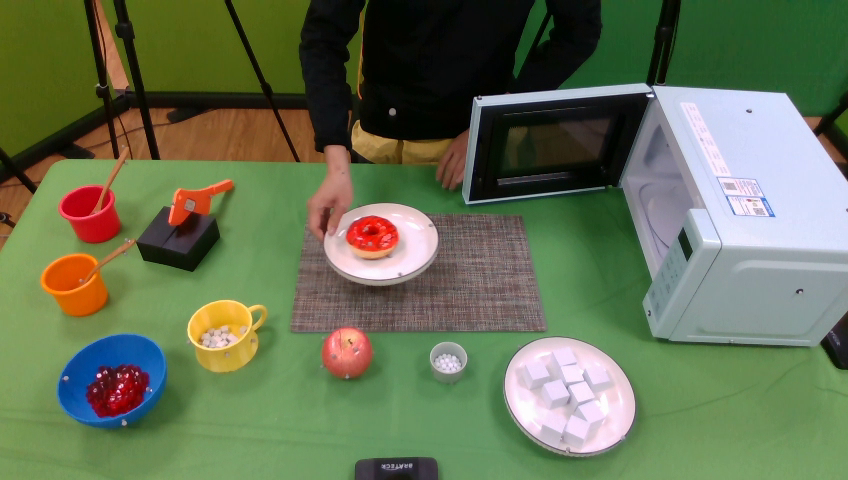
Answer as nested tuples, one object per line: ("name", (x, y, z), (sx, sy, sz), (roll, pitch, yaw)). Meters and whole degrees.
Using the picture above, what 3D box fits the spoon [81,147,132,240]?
("spoon", (-0.603, -0.089, 1.156), (0.041, 0.022, 0.193), (27, 95, 19))

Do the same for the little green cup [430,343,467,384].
("little green cup", (0.039, 0.203, 0.993), (0.061, 0.039, 0.061), (2, 46, -2))

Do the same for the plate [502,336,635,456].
("plate", (0.225, 0.248, 0.963), (0.208, 0.039, 0.206), (2, 46, -2))

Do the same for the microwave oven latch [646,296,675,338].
("microwave oven latch", (0.412, 0.134, 1.061), (0.030, 0.029, 0.078), (3, 45, 0))

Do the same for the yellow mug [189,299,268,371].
("yellow mug", (-0.316, 0.148, 1.002), (0.131, 0.064, 0.099), (-33, 56, -31))

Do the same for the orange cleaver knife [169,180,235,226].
("orange cleaver knife", (-0.436, -0.076, 1.199), (0.012, 0.077, 0.211), (17, 17, 9))

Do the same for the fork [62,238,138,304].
("fork", (-0.547, 0.053, 1.018), (0.207, 0.019, 0.028), (-36, 41, 23))

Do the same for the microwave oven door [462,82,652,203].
("microwave oven door", (0.261, -0.194, 1.227), (0.356, 0.245, 0.039), (-7, 47, -11))

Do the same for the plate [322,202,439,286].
("plate", (-0.076, 0.010, 1.085), (0.209, 0.038, 0.208), (0, 42, 0))

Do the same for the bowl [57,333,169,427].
("bowl", (-0.456, 0.223, 0.912), (0.151, 0.077, 0.150), (3, 45, -2))

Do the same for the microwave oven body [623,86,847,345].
("microwave oven body", (0.567, -0.053, 1.118), (0.326, 0.261, 0.439), (2, 45, -1))

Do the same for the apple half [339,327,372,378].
("apple half", (-0.111, 0.182, 0.980), (0.053, 0.075, 0.080), (-2, 42, -12))

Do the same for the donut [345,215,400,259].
("donut", (-0.092, -0.006, 1.086), (0.099, 0.048, 0.098), (0, 41, 1))

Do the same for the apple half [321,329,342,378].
("apple half", (-0.149, 0.186, 0.972), (0.033, 0.081, 0.080), (-2, 46, -12))
